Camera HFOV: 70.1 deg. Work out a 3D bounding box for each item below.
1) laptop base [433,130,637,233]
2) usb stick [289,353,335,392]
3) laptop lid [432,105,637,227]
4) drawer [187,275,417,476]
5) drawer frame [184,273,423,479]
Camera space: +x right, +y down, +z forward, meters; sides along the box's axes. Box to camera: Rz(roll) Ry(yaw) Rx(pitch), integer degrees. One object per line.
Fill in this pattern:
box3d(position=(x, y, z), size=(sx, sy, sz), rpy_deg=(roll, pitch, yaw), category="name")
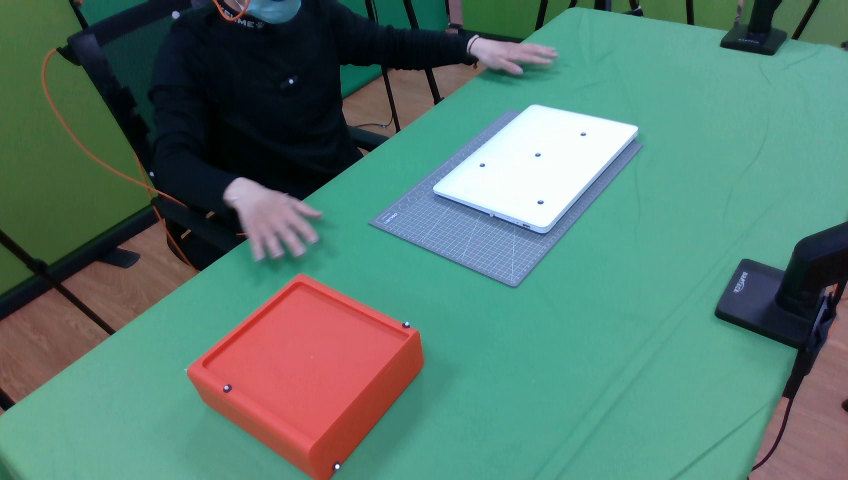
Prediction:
box3d(position=(0.210, -0.142, 1.111), size=(0.233, 0.023, 0.355), rpy_deg=(21, 47, 34), category="laptop base")
box3d(position=(-0.146, 0.172, 0.774), size=(0.059, 0.027, 0.021), rpy_deg=(-29, 44, -24), category="usb stick")
box3d(position=(0.207, -0.152, 1.105), size=(0.239, 0.013, 0.358), rpy_deg=(23, 49, 34), category="laptop lid")
box3d(position=(-0.148, 0.159, 0.761), size=(0.210, 0.073, 0.195), rpy_deg=(22, 47, 29), category="drawer")
box3d(position=(-0.145, 0.158, 0.760), size=(0.212, 0.083, 0.202), rpy_deg=(22, 47, 28), category="drawer frame")
